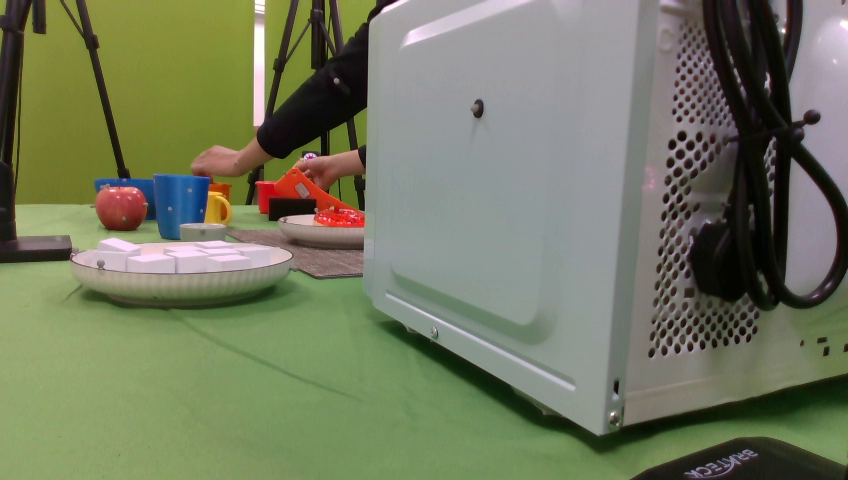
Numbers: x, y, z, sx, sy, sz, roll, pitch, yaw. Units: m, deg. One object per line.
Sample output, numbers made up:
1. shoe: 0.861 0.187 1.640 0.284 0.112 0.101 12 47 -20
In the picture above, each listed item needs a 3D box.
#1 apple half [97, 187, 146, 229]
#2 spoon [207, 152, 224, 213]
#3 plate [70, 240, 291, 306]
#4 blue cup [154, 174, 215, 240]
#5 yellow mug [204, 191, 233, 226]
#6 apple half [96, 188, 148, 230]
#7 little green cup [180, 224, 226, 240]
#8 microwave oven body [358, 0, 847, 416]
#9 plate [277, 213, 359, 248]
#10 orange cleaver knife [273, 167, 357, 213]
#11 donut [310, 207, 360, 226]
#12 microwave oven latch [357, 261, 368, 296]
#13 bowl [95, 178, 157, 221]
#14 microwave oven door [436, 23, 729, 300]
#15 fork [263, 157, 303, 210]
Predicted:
1. apple half: -0.535 -0.058 1.073 0.082 0.081 0.032 -1 6 -25
2. spoon: -0.462 -0.125 1.320 0.042 0.193 0.021 -2 -35 -19
3. plate: -0.242 0.032 0.618 0.208 0.039 0.207 3 8 0
4. blue cup: -0.391 -0.053 0.978 0.093 0.100 0.092 4 6 0
5. yellow mug: -0.415 -0.057 1.132 0.130 0.064 0.100 6 8 16
6. apple half: -0.517 -0.052 1.036 0.081 0.074 0.053 3 10 -26
7. little green cup: -0.309 -0.001 0.846 0.061 0.038 0.061 2 8 0
8. microwave oven body: 0.211 -0.047 0.474 0.444 0.260 0.324 -1 7 -28
9. plate: -0.135 -0.017 0.992 0.209 0.038 0.209 3 8 0
10. orange cleaver knife: -0.238 -0.090 1.381 0.212 0.077 0.012 31 1 -19
11. donut: -0.137 -0.029 0.995 0.099 0.048 0.099 4 9 0
12. microwave oven latch: -0.019 0.033 0.532 0.079 0.029 0.030 -1 8 -29
13. bowl: -0.576 -0.081 1.217 0.151 0.077 0.151 3 8 0
14. microwave oven door: 0.180 -0.072 0.621 0.358 0.243 0.039 -2 9 -29
15. fork: -0.346 -0.143 1.506 0.028 0.019 0.207 -5 45 27
